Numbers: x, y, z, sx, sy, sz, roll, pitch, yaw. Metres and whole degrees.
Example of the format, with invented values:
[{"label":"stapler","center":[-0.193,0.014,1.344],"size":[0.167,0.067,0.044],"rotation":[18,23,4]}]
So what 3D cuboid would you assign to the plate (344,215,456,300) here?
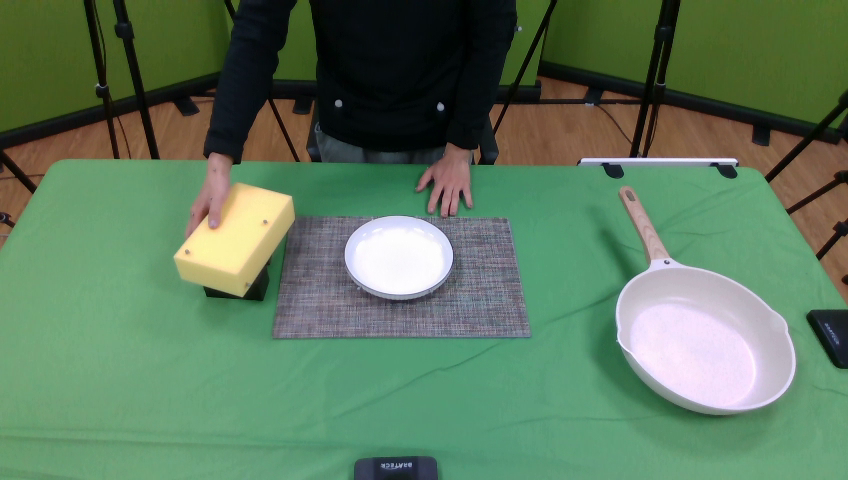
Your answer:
[{"label":"plate","center":[-0.045,0.036,1.146],"size":[0.208,0.039,0.206],"rotation":[2,46,-2]}]

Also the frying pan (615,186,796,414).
[{"label":"frying pan","center":[0.449,0.087,1.092],"size":[0.307,0.103,0.484],"rotation":[-4,55,-10]}]

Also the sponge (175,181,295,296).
[{"label":"sponge","center":[-0.331,-0.007,1.086],"size":[0.118,0.061,0.206],"rotation":[14,47,9]}]
